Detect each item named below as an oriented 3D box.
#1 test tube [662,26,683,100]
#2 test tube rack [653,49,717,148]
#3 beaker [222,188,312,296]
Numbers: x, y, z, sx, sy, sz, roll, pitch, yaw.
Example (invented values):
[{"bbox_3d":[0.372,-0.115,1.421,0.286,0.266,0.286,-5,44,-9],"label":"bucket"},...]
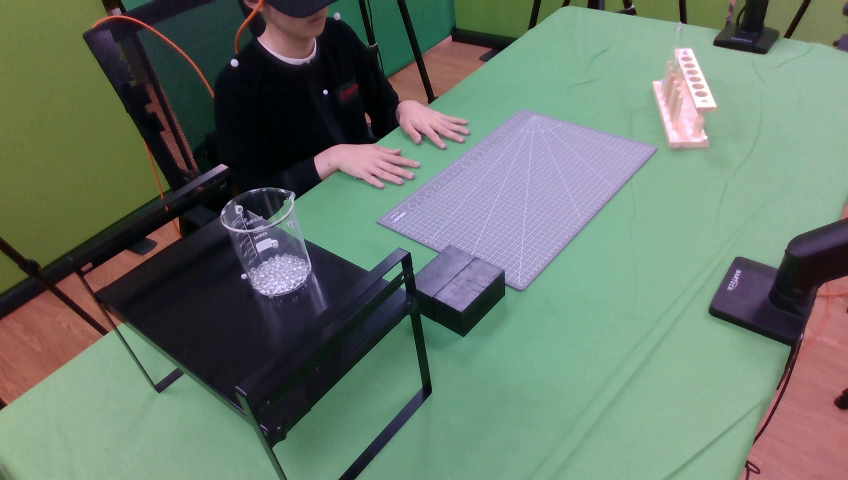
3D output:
[{"bbox_3d":[0.485,-0.343,1.182,0.017,0.151,0.017,-4,41,4],"label":"test tube"},{"bbox_3d":[0.502,-0.281,1.177,0.066,0.085,0.241,1,41,10],"label":"test tube rack"},{"bbox_3d":[-0.165,0.003,0.659,0.073,0.101,0.084,28,51,34],"label":"beaker"}]
